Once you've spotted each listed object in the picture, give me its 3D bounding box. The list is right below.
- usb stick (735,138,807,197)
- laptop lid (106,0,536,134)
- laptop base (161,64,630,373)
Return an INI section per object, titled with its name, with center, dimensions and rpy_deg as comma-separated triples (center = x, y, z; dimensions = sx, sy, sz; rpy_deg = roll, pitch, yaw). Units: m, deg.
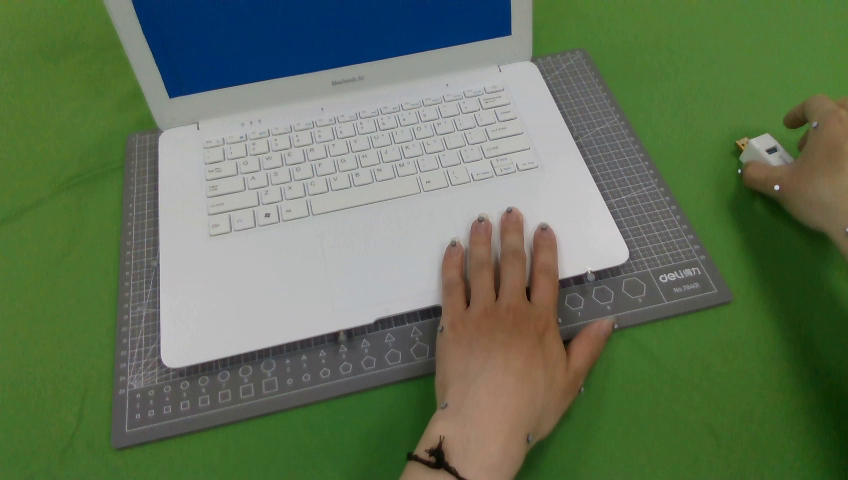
[usb stick]
center = 0.288, -0.065, 0.509
dimensions = 0.021, 0.027, 0.058
rpy_deg = -19, 51, -12
[laptop lid]
center = -0.077, -0.220, 0.496
dimensions = 0.357, 0.244, 0.013
rpy_deg = -14, 39, -5
[laptop base]
center = -0.037, -0.034, 0.507
dimensions = 0.355, 0.023, 0.233
rpy_deg = -12, 60, -6
